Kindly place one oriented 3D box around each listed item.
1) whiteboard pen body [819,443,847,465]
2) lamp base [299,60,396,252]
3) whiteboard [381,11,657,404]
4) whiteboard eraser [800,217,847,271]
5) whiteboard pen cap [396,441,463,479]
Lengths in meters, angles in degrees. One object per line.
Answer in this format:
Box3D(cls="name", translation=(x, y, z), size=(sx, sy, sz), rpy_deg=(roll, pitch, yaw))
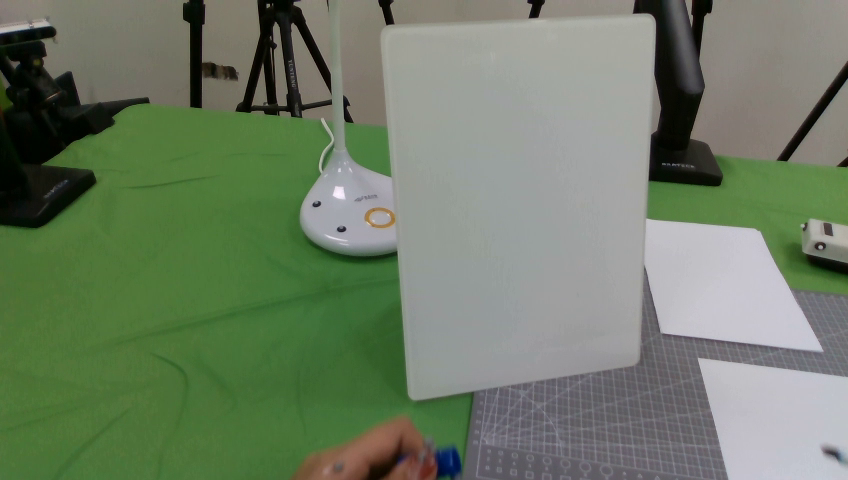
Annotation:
Box3D(cls="whiteboard pen body", translation=(0.217, 0.100, 0.213), size=(0.017, 0.017, 0.139), rpy_deg=(-25, 22, -32))
Box3D(cls="lamp base", translation=(-0.077, -0.104, 0.698), size=(0.161, 0.182, 0.177), rpy_deg=(-24, 40, -31))
Box3D(cls="whiteboard", translation=(0.071, -0.037, 0.553), size=(0.218, 0.307, 0.143), rpy_deg=(-6, 17, -10))
Box3D(cls="whiteboard eraser", translation=(0.489, 0.011, 0.684), size=(0.112, 0.042, 0.055), rpy_deg=(17, 40, 19))
Box3D(cls="whiteboard pen cap", translation=(0.003, 0.118, 0.322), size=(0.033, 0.018, 0.018), rpy_deg=(-19, 35, 8))
